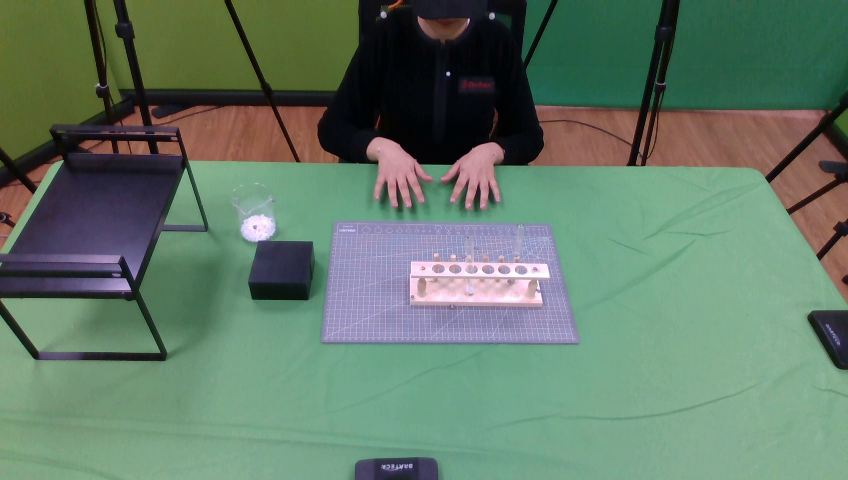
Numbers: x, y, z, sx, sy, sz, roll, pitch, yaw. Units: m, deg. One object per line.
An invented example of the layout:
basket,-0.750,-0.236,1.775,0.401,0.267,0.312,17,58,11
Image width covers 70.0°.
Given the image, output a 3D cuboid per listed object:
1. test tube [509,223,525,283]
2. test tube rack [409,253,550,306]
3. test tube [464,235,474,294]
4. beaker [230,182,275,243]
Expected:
test tube,0.165,0.025,1.077,0.017,0.151,0.017,0,47,1
test tube rack,0.095,0.067,1.093,0.242,0.085,0.066,1,46,-3
test tube,0.078,0.046,1.044,0.017,0.151,0.017,-2,49,2
beaker,-0.328,-0.049,1.166,0.074,0.101,0.083,2,47,-2
